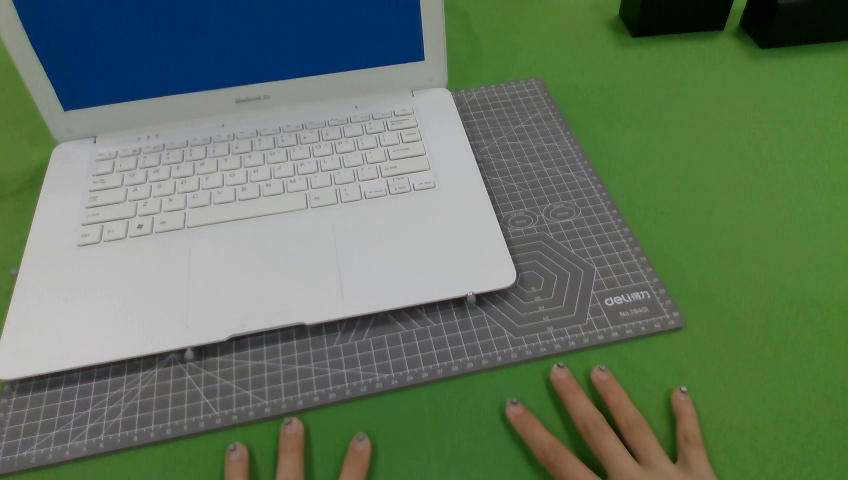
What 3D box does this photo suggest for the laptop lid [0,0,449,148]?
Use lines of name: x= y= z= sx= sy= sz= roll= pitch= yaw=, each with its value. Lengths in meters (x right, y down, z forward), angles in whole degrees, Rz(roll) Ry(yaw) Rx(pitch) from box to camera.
laptop lid: x=-0.158 y=-0.197 z=0.481 sx=0.357 sy=0.244 sz=0.013 roll=-11 pitch=40 yaw=-5

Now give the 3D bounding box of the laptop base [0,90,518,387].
laptop base: x=-0.126 y=-0.019 z=0.481 sx=0.355 sy=0.023 sz=0.233 roll=-10 pitch=53 yaw=-6
